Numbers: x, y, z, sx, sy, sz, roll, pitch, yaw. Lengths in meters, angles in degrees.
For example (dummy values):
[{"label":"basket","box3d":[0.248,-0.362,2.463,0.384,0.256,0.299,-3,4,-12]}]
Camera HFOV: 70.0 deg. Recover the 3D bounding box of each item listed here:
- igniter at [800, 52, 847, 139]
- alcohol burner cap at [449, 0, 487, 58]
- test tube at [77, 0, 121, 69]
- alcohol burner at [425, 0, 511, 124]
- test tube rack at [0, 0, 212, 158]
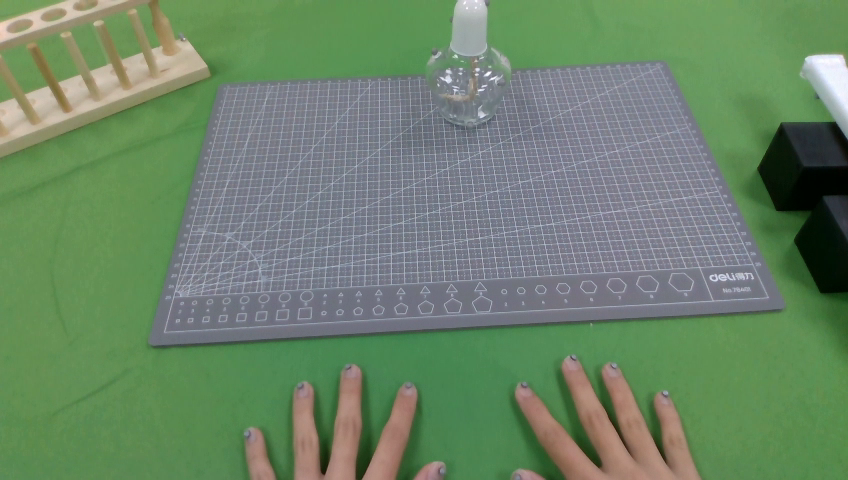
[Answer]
[{"label":"igniter","box3d":[0.333,-0.050,0.429,0.057,0.025,0.274,-1,49,5]},{"label":"alcohol burner cap","box3d":[0.038,-0.182,0.508,0.034,0.048,0.033,1,50,-1]},{"label":"test tube","box3d":[-0.312,-0.225,0.554,0.017,0.151,0.017,-1,48,1]},{"label":"alcohol burner","box3d":[0.039,-0.161,0.532,0.078,0.120,0.077,0,52,0]},{"label":"test tube rack","box3d":[-0.337,-0.160,0.567,0.242,0.086,0.066,-28,55,-19]}]
